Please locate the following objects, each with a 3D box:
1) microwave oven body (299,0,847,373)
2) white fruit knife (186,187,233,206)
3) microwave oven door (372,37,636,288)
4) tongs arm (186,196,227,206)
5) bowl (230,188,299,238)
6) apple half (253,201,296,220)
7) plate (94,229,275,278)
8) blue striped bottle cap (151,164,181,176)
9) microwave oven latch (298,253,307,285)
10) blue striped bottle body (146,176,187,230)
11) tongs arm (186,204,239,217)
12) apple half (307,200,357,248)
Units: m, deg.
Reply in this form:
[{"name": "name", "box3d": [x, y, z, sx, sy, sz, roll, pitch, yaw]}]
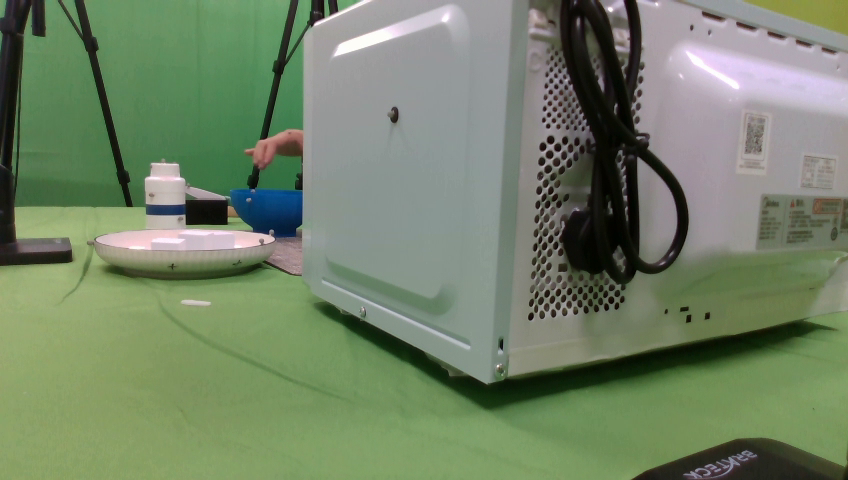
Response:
[{"name": "microwave oven body", "box3d": [0.151, -0.055, 0.542, 0.444, 0.260, 0.324, -2, 7, -33]}, {"name": "white fruit knife", "box3d": [-0.413, -0.081, 1.270, 0.208, 0.027, 0.016, 18, 14, -41]}, {"name": "microwave oven door", "box3d": [0.110, -0.080, 0.686, 0.358, 0.243, 0.039, -2, 9, -33]}, {"name": "tongs arm", "box3d": [-0.404, -0.081, 1.479, 0.385, 0.026, 0.050, 3, 8, -2]}, {"name": "bowl", "box3d": [-0.264, -0.047, 1.066, 0.151, 0.077, 0.151, 3, 8, 0]}, {"name": "apple half", "box3d": [-0.264, -0.053, 1.067, 0.081, 0.033, 0.081, 2, 9, 0]}, {"name": "plate", "box3d": [-0.291, 0.016, 0.750, 0.208, 0.039, 0.207, 2, 7, 0]}, {"name": "blue striped bottle cap", "box3d": [-0.428, -0.116, 1.002, 0.044, 0.020, 0.044, 1, 6, 0]}, {"name": "microwave oven latch", "box3d": [-0.081, 0.027, 0.582, 0.079, 0.029, 0.030, -2, 7, -32]}, {"name": "blue striped bottle body", "box3d": [-0.430, -0.065, 1.010, 0.063, 0.120, 0.063, 2, 7, 0]}, {"name": "tongs arm", "box3d": [-0.396, -0.066, 1.399, 0.389, 0.028, 0.028, 1, 5, -15]}, {"name": "apple half", "box3d": [-0.135, -0.024, 0.941, 0.053, 0.074, 0.081, 13, 9, 39]}]
